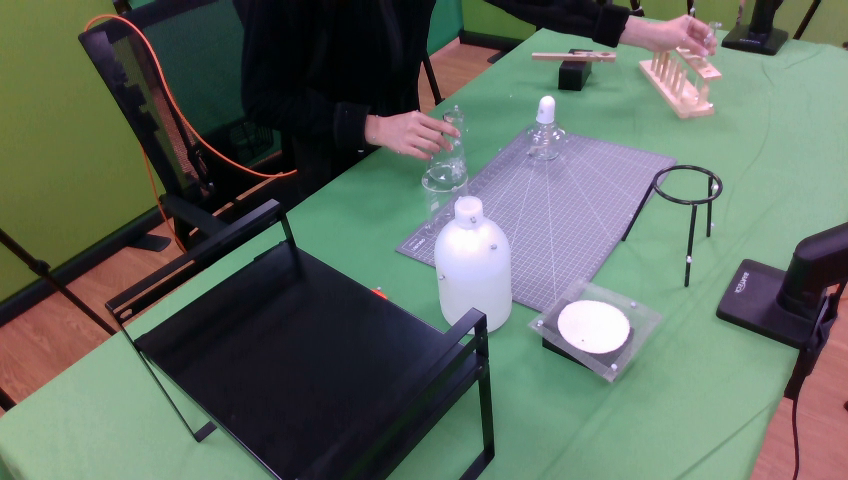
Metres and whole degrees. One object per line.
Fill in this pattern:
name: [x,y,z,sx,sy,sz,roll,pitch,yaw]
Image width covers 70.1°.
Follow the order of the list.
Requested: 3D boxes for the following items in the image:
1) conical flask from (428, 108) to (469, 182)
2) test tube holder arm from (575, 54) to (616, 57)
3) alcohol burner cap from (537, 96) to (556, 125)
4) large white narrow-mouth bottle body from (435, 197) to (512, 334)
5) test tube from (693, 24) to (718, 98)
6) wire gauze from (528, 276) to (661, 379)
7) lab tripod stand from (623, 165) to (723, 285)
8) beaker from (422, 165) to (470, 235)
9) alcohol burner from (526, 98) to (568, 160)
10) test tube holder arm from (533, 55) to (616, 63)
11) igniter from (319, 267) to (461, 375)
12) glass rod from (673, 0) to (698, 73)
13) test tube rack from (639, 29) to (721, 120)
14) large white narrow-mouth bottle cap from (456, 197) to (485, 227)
conical flask: [0.048,-0.168,1.059,0.075,0.122,0.075,4,41,-3]
test tube holder arm: [0.374,-0.398,1.318,0.087,0.015,0.010,5,50,15]
alcohol burner cap: [0.223,-0.237,1.095,0.034,0.048,0.033,0,43,1]
large white narrow-mouth bottle body: [0.066,0.028,0.805,0.102,0.195,0.101,-4,40,4]
test tube: [0.543,-0.343,1.170,0.017,0.151,0.017,-4,42,4]
wire gauze: [0.214,0.103,0.763,0.124,0.011,0.122,30,52,35]
lab tripod stand: [0.366,-0.030,0.874,0.148,0.132,0.147,-6,41,6]
beaker: [0.041,-0.063,0.986,0.073,0.101,0.084,20,47,29]
alcohol burner: [0.228,-0.210,1.118,0.078,0.119,0.077,-5,43,5]
test tube holder arm: [0.329,-0.397,1.327,0.178,0.015,0.013,5,50,15]
igniter: [-0.060,0.108,0.862,0.274,0.025,0.057,28,62,35]
glass rod: [0.537,-0.425,1.244,0.008,0.200,0.008,0,48,0]
test tube rack: [0.527,-0.351,1.262,0.067,0.085,0.241,-8,40,1]
large white narrow-mouth bottle cap: [0.058,-0.035,0.750,0.038,0.024,0.037,-4,40,4]
